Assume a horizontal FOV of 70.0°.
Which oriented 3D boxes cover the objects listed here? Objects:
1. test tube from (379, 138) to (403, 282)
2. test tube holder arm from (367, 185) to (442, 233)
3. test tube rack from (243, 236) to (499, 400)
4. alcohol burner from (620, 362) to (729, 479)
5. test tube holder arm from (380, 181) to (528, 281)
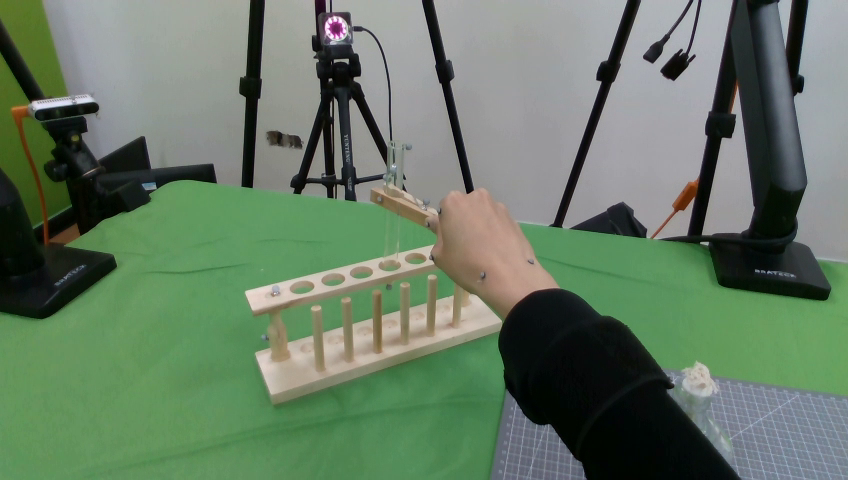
[{"bbox_3d":[-0.032,-0.024,0.566,0.017,0.151,0.017,4,32,-2],"label":"test tube"},{"bbox_3d":[-0.017,-0.029,0.540,0.087,0.015,0.010,26,39,31],"label":"test tube holder arm"},{"bbox_3d":[-0.043,0.068,0.596,0.243,0.086,0.066,-14,33,-23],"label":"test tube rack"},{"bbox_3d":[0.188,0.135,0.448,0.078,0.120,0.077,1,32,0],"label":"alcohol burner"},{"bbox_3d":[0.019,-0.012,0.518,0.013,0.015,0.176,-25,42,-36],"label":"test tube holder arm"}]
